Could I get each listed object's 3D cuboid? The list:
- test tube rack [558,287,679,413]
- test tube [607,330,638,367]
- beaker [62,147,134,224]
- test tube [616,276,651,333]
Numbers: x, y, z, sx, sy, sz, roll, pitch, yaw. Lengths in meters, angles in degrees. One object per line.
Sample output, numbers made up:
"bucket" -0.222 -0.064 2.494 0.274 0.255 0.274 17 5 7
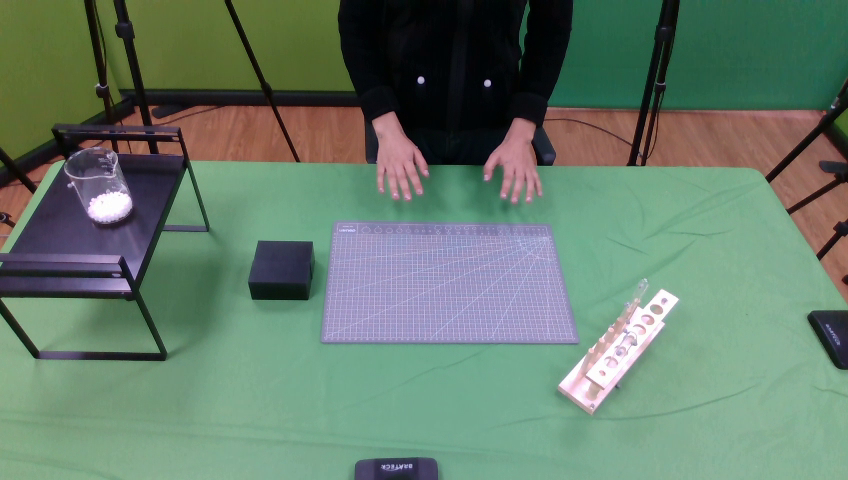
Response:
"test tube rack" 0.326 0.170 1.009 0.066 0.085 0.242 36 54 26
"test tube" 0.292 0.184 0.925 0.017 0.151 0.017 4 49 -4
"beaker" -0.495 -0.080 0.933 0.084 0.101 0.074 23 49 16
"test tube" 0.344 0.109 1.007 0.017 0.151 0.017 3 48 -3
